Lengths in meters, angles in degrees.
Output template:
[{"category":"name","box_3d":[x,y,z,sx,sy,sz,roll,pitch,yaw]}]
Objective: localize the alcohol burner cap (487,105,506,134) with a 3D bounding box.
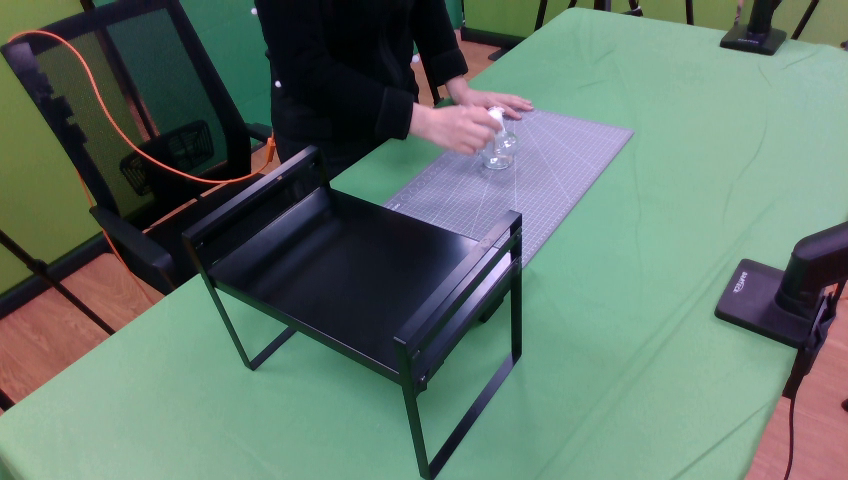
[{"category":"alcohol burner cap","box_3d":[0.122,-0.208,1.036,0.034,0.048,0.033,-6,51,8]}]

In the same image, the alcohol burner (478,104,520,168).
[{"category":"alcohol burner","box_3d":[0.137,-0.193,1.106,0.078,0.119,0.077,-5,39,4]}]
